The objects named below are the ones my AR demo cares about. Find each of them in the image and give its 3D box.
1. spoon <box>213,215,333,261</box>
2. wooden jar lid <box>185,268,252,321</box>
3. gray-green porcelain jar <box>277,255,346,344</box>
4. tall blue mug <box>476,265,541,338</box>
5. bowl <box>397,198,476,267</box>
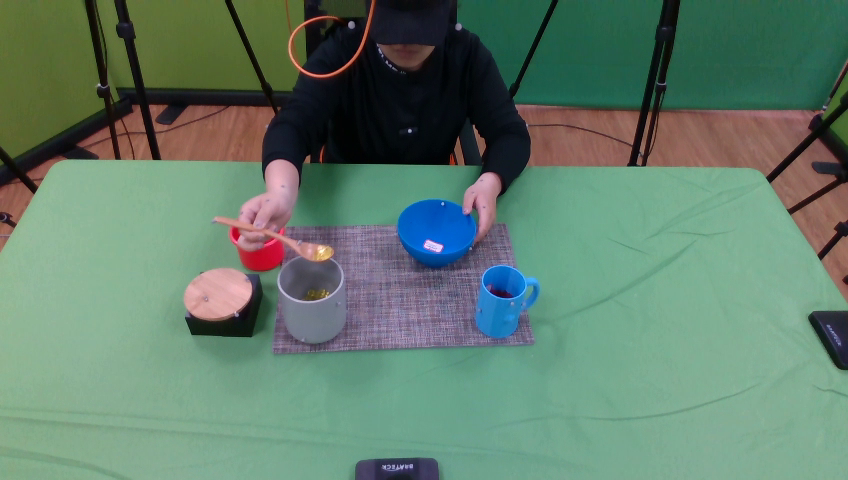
[{"bbox_3d":[-0.238,-0.007,0.959,0.194,0.022,0.041,22,41,-6],"label":"spoon"},{"bbox_3d":[-0.343,0.093,1.015,0.108,0.021,0.107,3,46,-3],"label":"wooden jar lid"},{"bbox_3d":[-0.184,0.102,1.008,0.106,0.127,0.105,2,46,-2],"label":"gray-green porcelain jar"},{"bbox_3d":[0.142,0.099,1.047,0.077,0.108,0.107,33,52,27],"label":"tall blue mug"},{"bbox_3d":[0.022,-0.001,1.157,0.151,0.077,0.150,2,46,-2],"label":"bowl"}]
